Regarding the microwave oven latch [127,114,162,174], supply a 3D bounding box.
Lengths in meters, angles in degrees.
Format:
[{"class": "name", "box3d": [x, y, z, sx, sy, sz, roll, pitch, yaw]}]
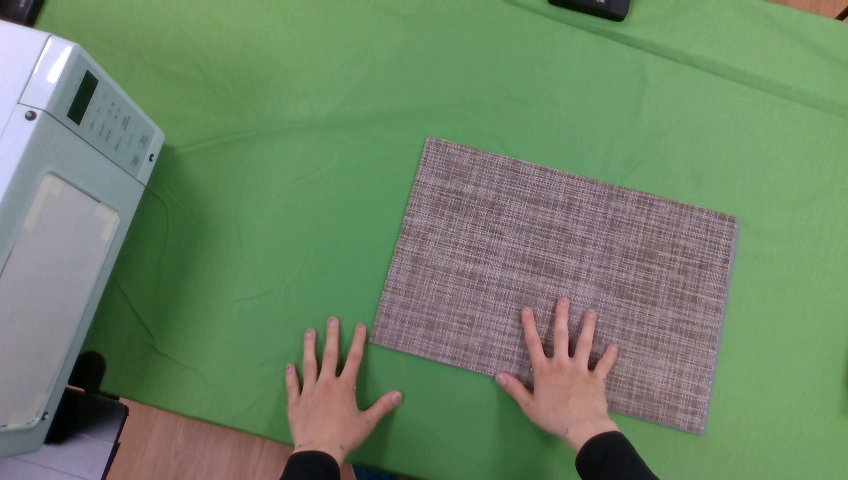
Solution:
[{"class": "microwave oven latch", "box3d": [-0.376, -0.130, 0.805, 0.030, 0.029, 0.079, 18, 79, 1]}]

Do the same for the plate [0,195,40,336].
[{"class": "plate", "box3d": [-0.562, 0.035, 0.725, 0.209, 0.038, 0.208, 1, 80, -3]}]

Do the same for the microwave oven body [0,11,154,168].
[{"class": "microwave oven body", "box3d": [-0.564, -0.023, 0.678, 0.326, 0.261, 0.440, 16, 79, 1]}]

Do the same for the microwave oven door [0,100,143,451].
[{"class": "microwave oven door", "box3d": [-0.435, 0.055, 0.663, 0.039, 0.244, 0.354, 15, 78, 2]}]
